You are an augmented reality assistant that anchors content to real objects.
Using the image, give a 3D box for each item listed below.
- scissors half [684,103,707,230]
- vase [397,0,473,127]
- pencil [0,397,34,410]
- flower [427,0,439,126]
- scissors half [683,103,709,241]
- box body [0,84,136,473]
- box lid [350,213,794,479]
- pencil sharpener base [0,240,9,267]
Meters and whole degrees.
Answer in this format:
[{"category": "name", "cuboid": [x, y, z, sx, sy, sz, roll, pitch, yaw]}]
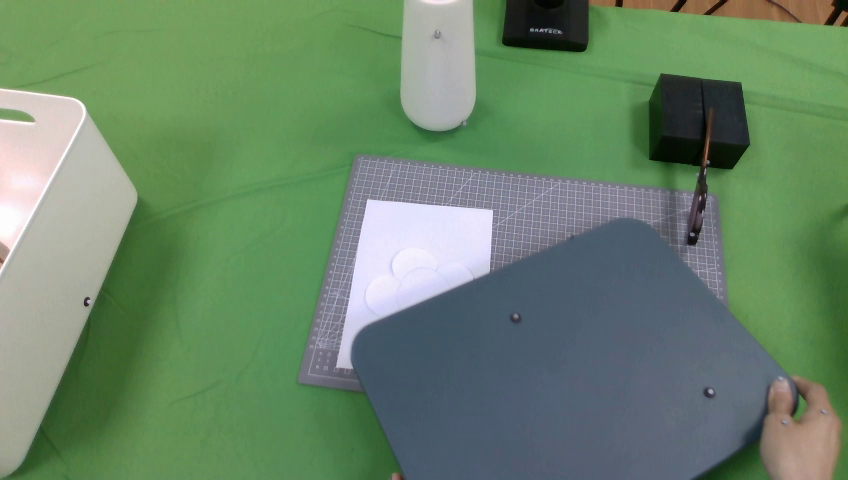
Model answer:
[{"category": "scissors half", "cuboid": [0.316, -0.089, 0.692, 0.013, 0.040, 0.174, 11, 63, 16]}, {"category": "vase", "cuboid": [0.012, -0.228, 0.721, 0.098, 0.201, 0.097, -1, 60, 1]}, {"category": "pencil", "cuboid": [-0.490, 0.151, 0.620, 0.194, 0.012, 0.012, 12, 62, 4]}, {"category": "flower", "cuboid": [0.006, -0.280, 0.654, 0.044, 0.365, 0.038, 0, 44, 5]}, {"category": "scissors half", "cuboid": [0.321, -0.082, 0.711, 0.012, 0.040, 0.174, 10, 80, 21]}, {"category": "box body", "cuboid": [-0.486, 0.032, 0.605, 0.254, 0.161, 0.361, 7, 62, 4]}, {"category": "box lid", "cuboid": [0.140, 0.125, 0.586, 0.372, 0.015, 0.260, -23, 59, -15]}, {"category": "pencil sharpener base", "cuboid": [-0.483, 0.018, 0.635, 0.061, 0.108, 0.076, -40, 67, -19]}]
